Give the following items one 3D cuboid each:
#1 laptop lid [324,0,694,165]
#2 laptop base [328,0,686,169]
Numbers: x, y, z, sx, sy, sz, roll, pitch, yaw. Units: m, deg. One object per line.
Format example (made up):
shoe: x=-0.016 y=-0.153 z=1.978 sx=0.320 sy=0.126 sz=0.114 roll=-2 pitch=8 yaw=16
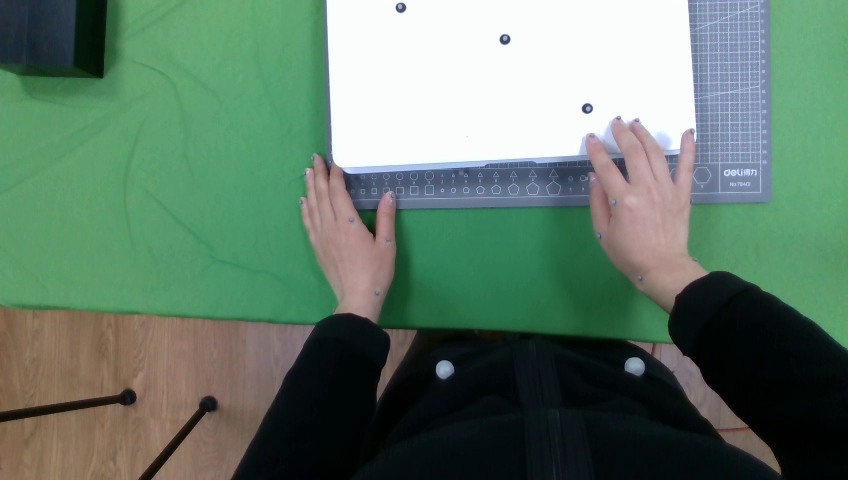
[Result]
laptop lid: x=0.078 y=-0.198 z=0.590 sx=0.356 sy=0.013 sz=0.241 roll=-1 pitch=88 yaw=4
laptop base: x=0.080 y=-0.199 z=0.615 sx=0.354 sy=0.023 sz=0.235 roll=-3 pitch=95 yaw=4
